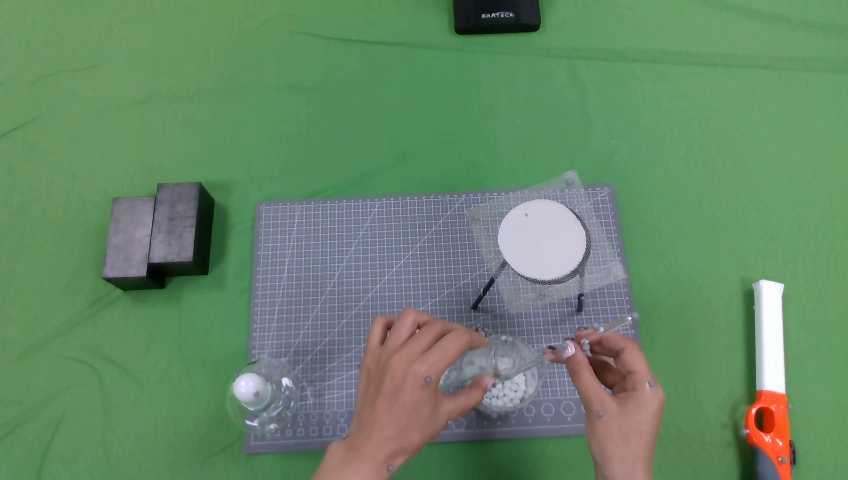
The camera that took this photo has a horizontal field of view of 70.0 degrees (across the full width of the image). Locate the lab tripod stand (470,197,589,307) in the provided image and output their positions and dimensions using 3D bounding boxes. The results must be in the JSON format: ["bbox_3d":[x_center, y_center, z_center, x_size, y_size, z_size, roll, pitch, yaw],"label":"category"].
[{"bbox_3d":[0.118,0.023,0.662,0.148,0.132,0.147,0,72,1],"label":"lab tripod stand"}]

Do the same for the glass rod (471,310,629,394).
[{"bbox_3d":[0.105,0.106,0.550,0.008,0.200,0.008,23,48,-28],"label":"glass rod"}]

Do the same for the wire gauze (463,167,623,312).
[{"bbox_3d":[0.116,-0.002,0.599,0.125,0.011,0.120,-19,73,-5],"label":"wire gauze"}]

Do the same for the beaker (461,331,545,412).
[{"bbox_3d":[0.079,0.142,0.638,0.084,0.101,0.073,-4,70,-2],"label":"beaker"}]

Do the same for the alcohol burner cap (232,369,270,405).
[{"bbox_3d":[-0.171,0.141,0.593,0.034,0.048,0.033,2,68,-4],"label":"alcohol burner cap"}]

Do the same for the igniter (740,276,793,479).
[{"bbox_3d":[0.376,0.174,0.667,0.057,0.025,0.275,12,71,-6],"label":"igniter"}]

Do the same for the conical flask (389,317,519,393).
[{"bbox_3d":[0.030,0.107,0.563,0.076,0.121,0.075,8,78,-41],"label":"conical flask"}]

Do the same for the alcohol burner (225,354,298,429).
[{"bbox_3d":[-0.172,0.155,0.626,0.078,0.120,0.077,0,71,-1],"label":"alcohol burner"}]
